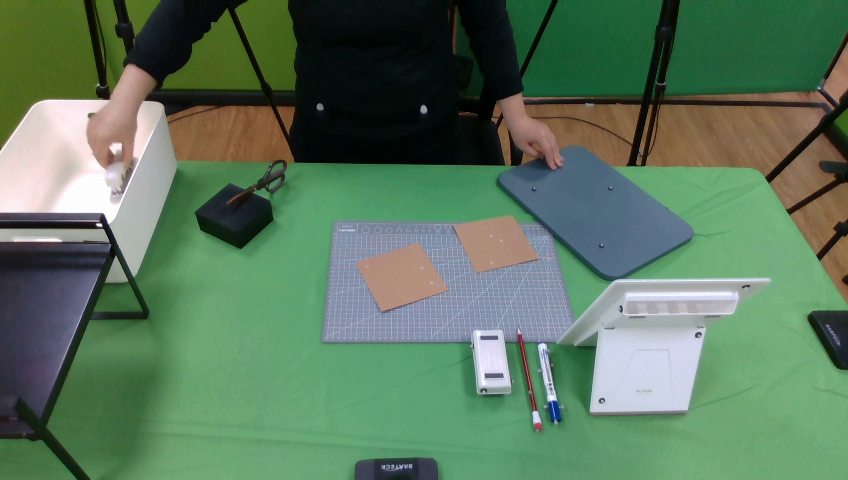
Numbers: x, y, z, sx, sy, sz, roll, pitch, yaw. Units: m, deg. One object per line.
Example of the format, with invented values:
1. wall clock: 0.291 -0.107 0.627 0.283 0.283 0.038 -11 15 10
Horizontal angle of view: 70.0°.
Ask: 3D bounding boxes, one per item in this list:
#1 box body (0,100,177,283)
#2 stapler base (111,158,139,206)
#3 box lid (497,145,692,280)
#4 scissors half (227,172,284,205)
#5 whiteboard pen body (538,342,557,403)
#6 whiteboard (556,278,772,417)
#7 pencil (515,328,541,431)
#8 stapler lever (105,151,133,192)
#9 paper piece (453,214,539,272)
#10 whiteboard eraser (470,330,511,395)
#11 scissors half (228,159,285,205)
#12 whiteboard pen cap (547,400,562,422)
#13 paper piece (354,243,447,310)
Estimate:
1. box body: -0.639 -0.095 1.140 0.254 0.161 0.361 1 46 -4
2. stapler base: -0.582 -0.119 1.177 0.041 0.024 0.129 -7 47 -8
3. box lid: 0.360 -0.073 1.304 0.263 0.015 0.369 -24 51 -25
4. scissors half: -0.339 -0.101 1.230 0.013 0.040 0.175 20 28 17
5. whiteboard pen body: 0.205 0.228 0.997 0.017 0.017 0.140 1 47 -3
6. whiteboard: 0.347 0.174 0.903 0.217 0.306 0.143 1 65 -4
7. pencil: 0.169 0.224 1.002 0.012 0.012 0.192 -1 46 -6
8. stapler lever: -0.583 -0.138 1.159 0.027 0.040 0.117 -7 46 -8
9. paper piece: 0.142 0.003 1.213 0.135 0.004 0.135 -12 47 -14
10. whiteboard eraser: 0.109 0.202 0.998 0.055 0.042 0.112 1 46 -5
11. scissors half: -0.336 -0.117 1.218 0.013 0.040 0.174 24 46 14
12. whiteboard pen cap: 0.205 0.269 0.956 0.018 0.018 0.033 0 47 -5
13. paper piece: -0.045 0.066 1.137 0.136 0.009 0.137 -14 47 -22
